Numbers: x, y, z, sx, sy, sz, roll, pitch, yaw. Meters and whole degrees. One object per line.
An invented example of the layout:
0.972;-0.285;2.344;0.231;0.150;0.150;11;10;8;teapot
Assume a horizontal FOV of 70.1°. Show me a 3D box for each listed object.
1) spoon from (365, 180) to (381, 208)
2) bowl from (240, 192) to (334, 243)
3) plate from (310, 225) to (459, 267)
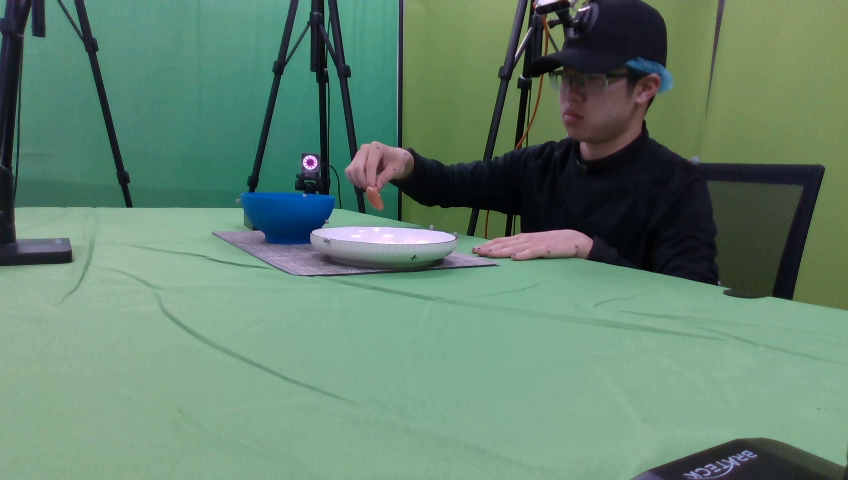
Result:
-0.085;-0.084;1.017;0.021;0.041;0.193;-31;13;3;spoon
-0.223;-0.037;0.992;0.151;0.077;0.151;2;7;0;bowl
-0.055;0.008;0.851;0.208;0.039;0.207;2;7;0;plate
